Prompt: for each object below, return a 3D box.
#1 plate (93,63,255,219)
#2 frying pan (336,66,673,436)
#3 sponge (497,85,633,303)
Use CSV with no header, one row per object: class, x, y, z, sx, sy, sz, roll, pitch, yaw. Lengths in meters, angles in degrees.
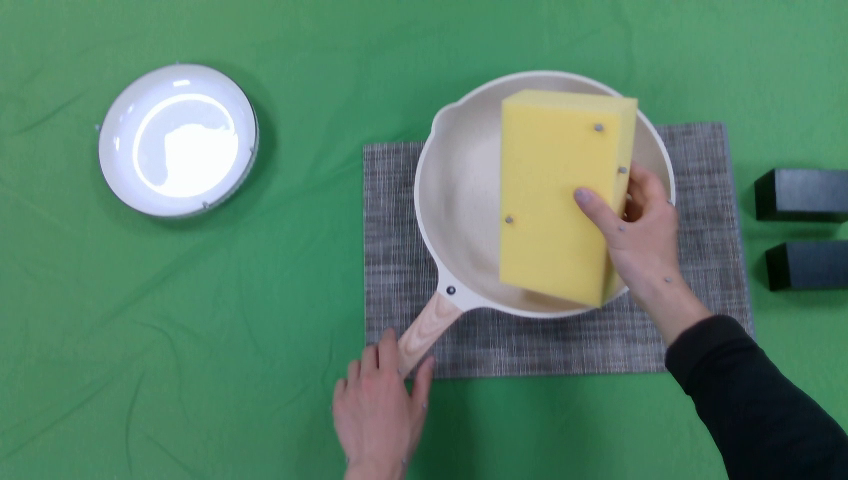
plate,-0.316,-0.124,0.781,0.207,0.039,0.206,-1,79,4
frying pan,0.067,0.019,0.687,0.305,0.103,0.487,39,76,11
sponge,0.142,-0.048,0.630,0.117,0.061,0.208,12,120,28
